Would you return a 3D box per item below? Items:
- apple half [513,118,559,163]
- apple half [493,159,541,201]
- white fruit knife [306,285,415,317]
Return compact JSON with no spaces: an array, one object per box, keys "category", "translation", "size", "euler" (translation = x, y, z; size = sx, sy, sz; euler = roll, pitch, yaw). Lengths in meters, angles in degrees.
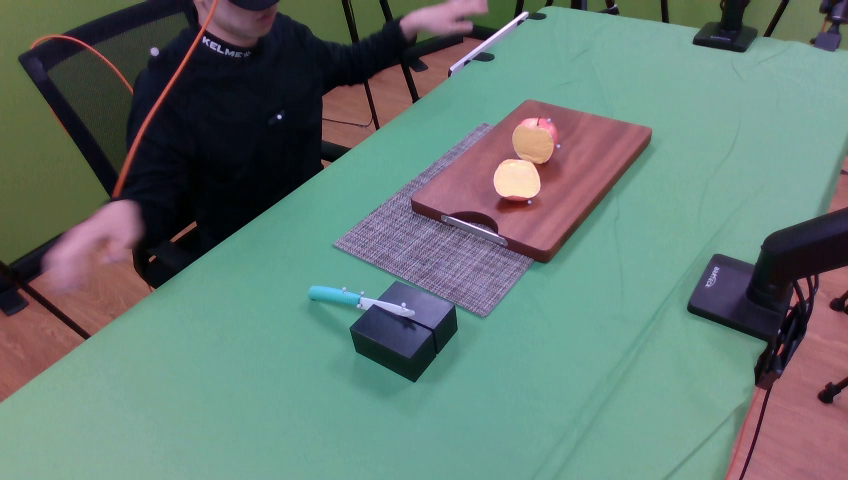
[{"category":"apple half","translation":[0.202,-0.179,1.066],"size":[0.080,0.075,0.053],"euler":[14,41,29]},{"category":"apple half","translation":[0.153,-0.095,0.999],"size":[0.081,0.033,0.081],"euler":[-1,64,2]},{"category":"white fruit knife","translation":[-0.092,0.085,0.837],"size":[0.206,0.027,0.016],"euler":[6,36,36]}]
